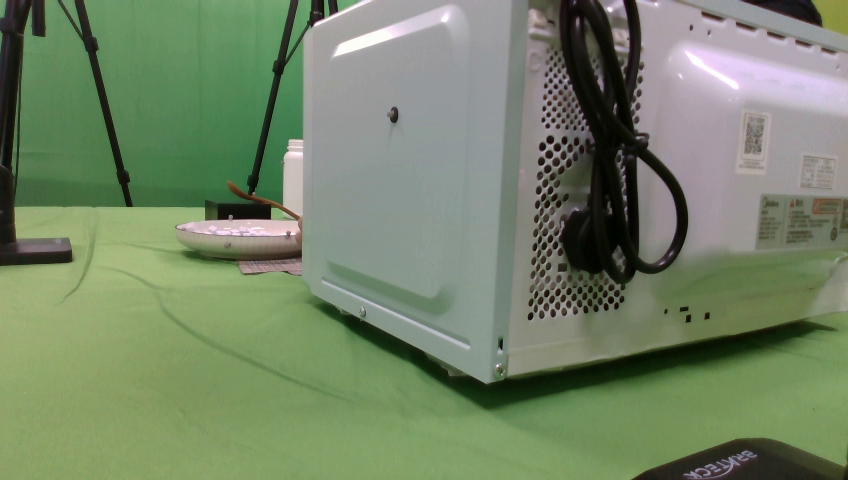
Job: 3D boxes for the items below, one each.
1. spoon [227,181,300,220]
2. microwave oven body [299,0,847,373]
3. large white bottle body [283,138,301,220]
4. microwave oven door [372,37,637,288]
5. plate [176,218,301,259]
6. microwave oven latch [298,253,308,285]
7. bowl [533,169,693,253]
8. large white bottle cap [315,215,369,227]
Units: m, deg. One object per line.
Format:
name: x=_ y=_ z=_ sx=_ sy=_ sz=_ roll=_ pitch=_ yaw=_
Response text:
spoon: x=-0.314 y=-0.074 z=1.234 sx=0.195 sy=0.021 sz=0.041 roll=24 pitch=-11 yaw=-37
microwave oven body: x=0.152 y=-0.055 z=0.542 sx=0.444 sy=0.260 sz=0.324 roll=-2 pitch=7 yaw=-32
large white bottle body: x=-0.265 y=-0.143 z=1.423 sx=0.131 sy=0.184 sz=0.130 roll=2 pitch=7 yaw=0
microwave oven door: x=0.110 y=-0.080 z=0.686 sx=0.358 sy=0.243 sz=0.039 roll=-2 pitch=9 yaw=-33
plate: x=-0.247 y=-0.003 z=0.877 sx=0.209 sy=0.038 sz=0.209 roll=1 pitch=8 yaw=0
microwave oven latch: x=-0.081 y=0.027 z=0.583 sx=0.079 sy=0.029 sz=0.030 roll=-2 pitch=8 yaw=-34
bowl: x=0.181 y=-0.030 z=0.596 sx=0.151 sy=0.077 sz=0.151 roll=1 pitch=7 yaw=0
large white bottle cap: x=-0.177 y=-0.041 z=1.308 sx=0.115 sy=0.018 sz=0.115 roll=2 pitch=6 yaw=0
